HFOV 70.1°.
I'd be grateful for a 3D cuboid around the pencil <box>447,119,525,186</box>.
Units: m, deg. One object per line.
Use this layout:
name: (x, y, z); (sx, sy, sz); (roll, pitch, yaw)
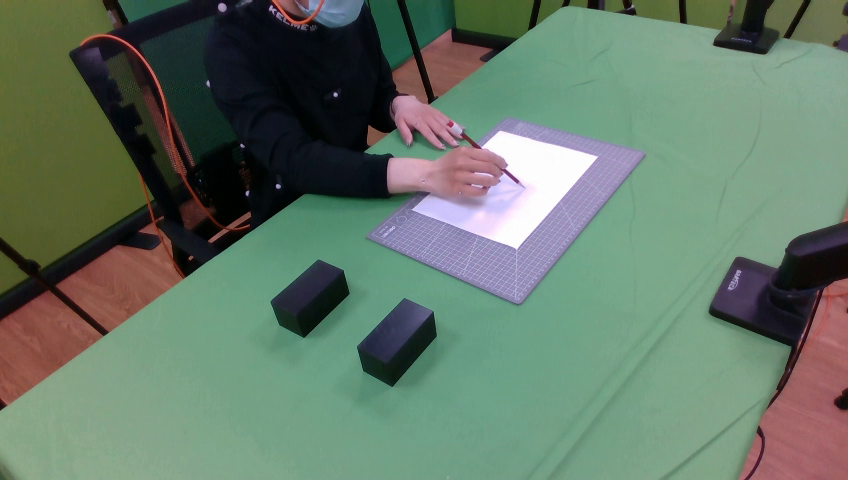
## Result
pencil: (0.108, -0.143, 1.015); (0.012, 0.195, 0.012); (-36, 35, 31)
